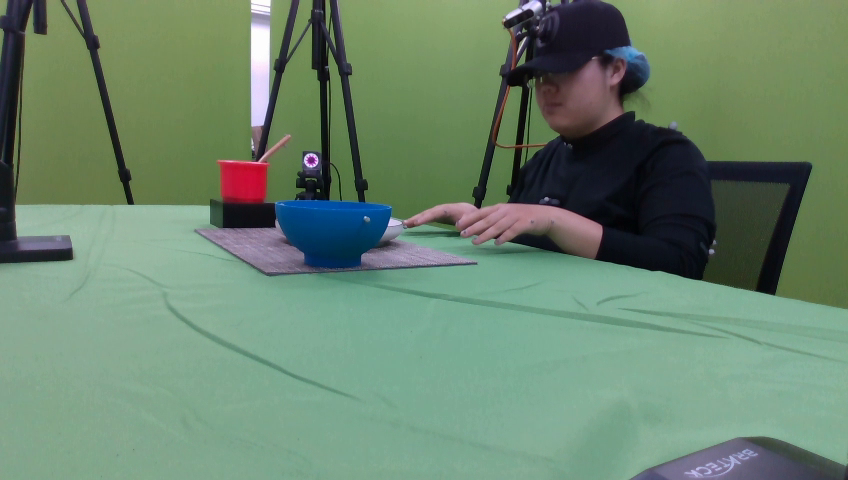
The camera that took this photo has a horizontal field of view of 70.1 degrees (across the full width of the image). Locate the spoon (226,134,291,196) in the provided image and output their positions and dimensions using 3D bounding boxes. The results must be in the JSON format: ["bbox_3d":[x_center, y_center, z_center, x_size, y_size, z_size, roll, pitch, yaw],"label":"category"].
[{"bbox_3d":[-0.320,-0.149,1.187,0.041,0.022,0.194,9,53,36],"label":"spoon"}]

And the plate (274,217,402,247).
[{"bbox_3d":[-0.140,-0.015,0.993,0.208,0.039,0.207,3,7,0],"label":"plate"}]

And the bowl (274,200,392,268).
[{"bbox_3d":[-0.117,-0.008,0.781,0.151,0.077,0.151,3,7,0],"label":"bowl"}]
